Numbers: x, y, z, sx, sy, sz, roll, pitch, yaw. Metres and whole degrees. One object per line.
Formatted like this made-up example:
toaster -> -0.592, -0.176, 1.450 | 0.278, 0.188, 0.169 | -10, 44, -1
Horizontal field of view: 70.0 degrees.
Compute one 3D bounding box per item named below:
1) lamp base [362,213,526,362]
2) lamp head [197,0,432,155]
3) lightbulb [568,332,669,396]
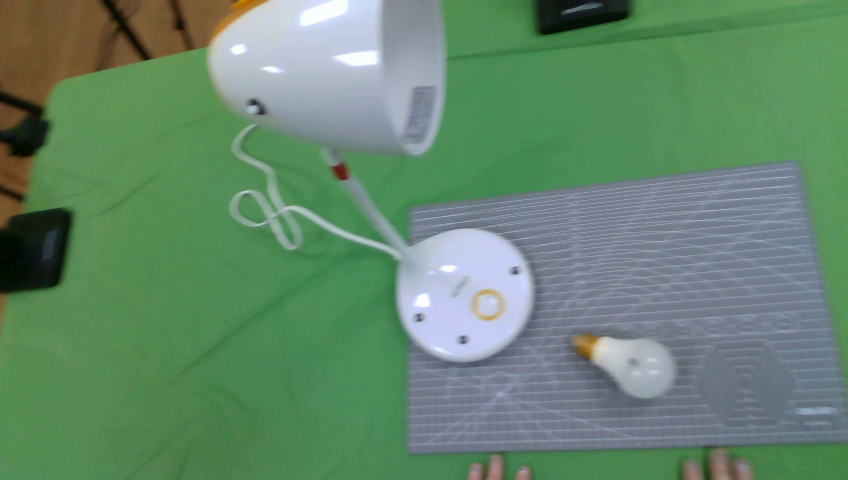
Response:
lamp base -> 0.009, 0.033, 0.643 | 0.178, 0.182, 0.160 | 21, 78, 23
lamp head -> -0.063, -0.101, 0.353 | 0.122, 0.113, 0.112 | -2, 71, 21
lightbulb -> 0.201, 0.123, 0.634 | 0.107, 0.060, 0.059 | 19, 77, 36
